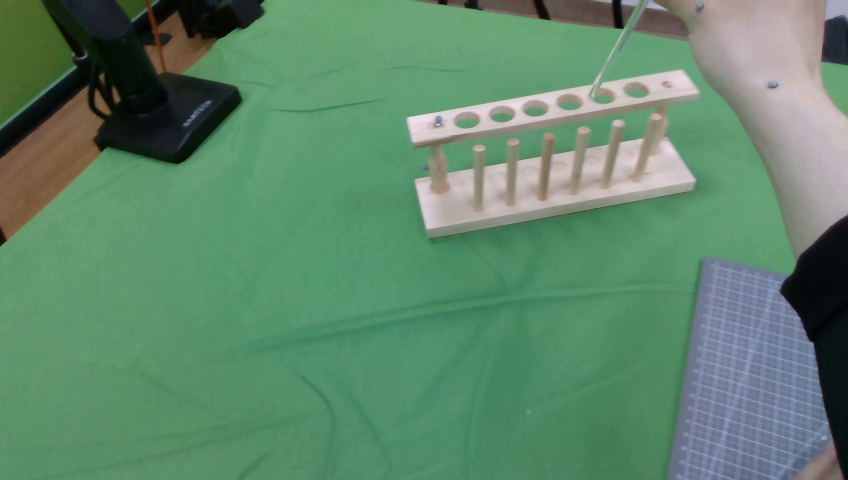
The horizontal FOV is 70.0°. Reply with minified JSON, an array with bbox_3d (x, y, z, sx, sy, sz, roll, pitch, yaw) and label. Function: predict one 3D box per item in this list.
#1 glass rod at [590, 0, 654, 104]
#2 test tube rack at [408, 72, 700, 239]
[{"bbox_3d":[0.150,-0.161,0.398,0.008,0.201,0.008,5,58,-8],"label":"glass rod"},{"bbox_3d":[0.114,-0.073,0.528,0.242,0.086,0.066,-10,50,-3],"label":"test tube rack"}]
